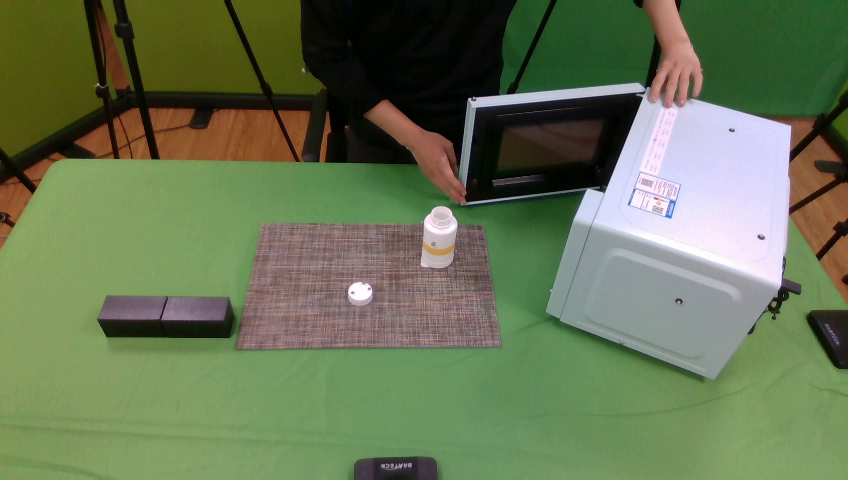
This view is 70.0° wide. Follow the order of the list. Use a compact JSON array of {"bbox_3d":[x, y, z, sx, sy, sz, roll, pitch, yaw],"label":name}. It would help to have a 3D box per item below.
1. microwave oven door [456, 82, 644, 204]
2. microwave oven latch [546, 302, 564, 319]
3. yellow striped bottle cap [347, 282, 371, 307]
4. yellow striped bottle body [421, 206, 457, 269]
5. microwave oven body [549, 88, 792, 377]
[{"bbox_3d":[0.249,-0.193,1.225,0.356,0.245,0.039,-8,47,-11],"label":"microwave oven door"},{"bbox_3d":[0.242,0.102,1.081,0.030,0.029,0.079,21,48,17],"label":"microwave oven latch"},{"bbox_3d":[-0.117,0.098,1.093,0.044,0.019,0.044,3,46,-3],"label":"yellow striped bottle cap"},{"bbox_3d":[0.028,-0.008,1.132,0.063,0.121,0.062,2,46,-2],"label":"yellow striped bottle body"},{"bbox_3d":[0.455,-0.028,1.088,0.325,0.261,0.440,20,47,16],"label":"microwave oven body"}]
